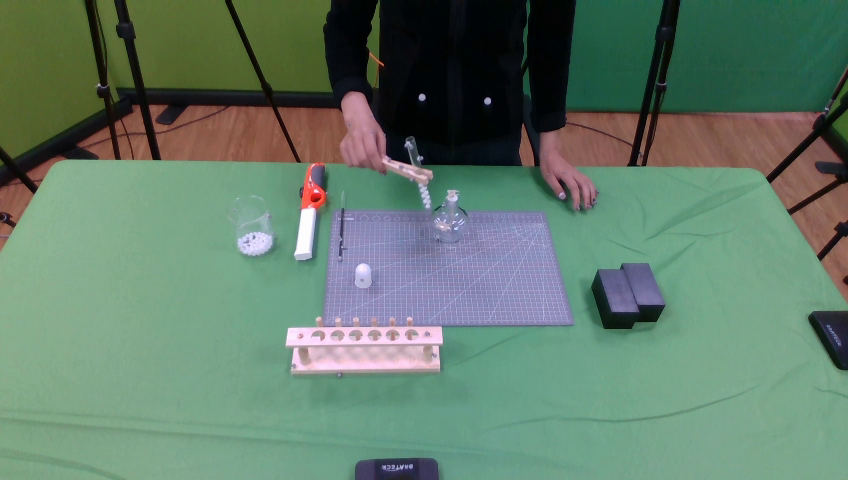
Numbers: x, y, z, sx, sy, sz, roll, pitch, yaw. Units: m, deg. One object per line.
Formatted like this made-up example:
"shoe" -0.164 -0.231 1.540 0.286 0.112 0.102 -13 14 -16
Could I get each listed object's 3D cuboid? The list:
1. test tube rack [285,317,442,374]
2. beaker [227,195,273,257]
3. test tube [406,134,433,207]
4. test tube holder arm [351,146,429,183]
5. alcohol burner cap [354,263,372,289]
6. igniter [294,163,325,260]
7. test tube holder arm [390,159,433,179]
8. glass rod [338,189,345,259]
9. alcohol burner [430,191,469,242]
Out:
"test tube rack" -0.095 0.166 0.988 0.242 0.085 0.066 0 46 -4
"beaker" -0.326 -0.022 1.142 0.074 0.101 0.083 10 47 6
"test tube" -0.006 -0.115 1.038 0.017 0.151 0.017 -9 42 8
"test tube holder arm" -0.063 -0.136 1.070 0.177 0.015 0.013 23 50 30
"alcohol burner cap" -0.113 0.063 1.111 0.034 0.048 0.033 2 46 -2
"igniter" -0.234 -0.067 1.243 0.057 0.025 0.274 -6 46 4
"test tube holder arm" -0.023 -0.125 1.052 0.087 0.015 0.010 18 48 25
"glass rod" -0.166 -0.036 1.227 0.008 0.008 0.198 -1 46 -4
"alcohol burner" 0.052 -0.053 1.185 0.078 0.119 0.077 2 48 -2
